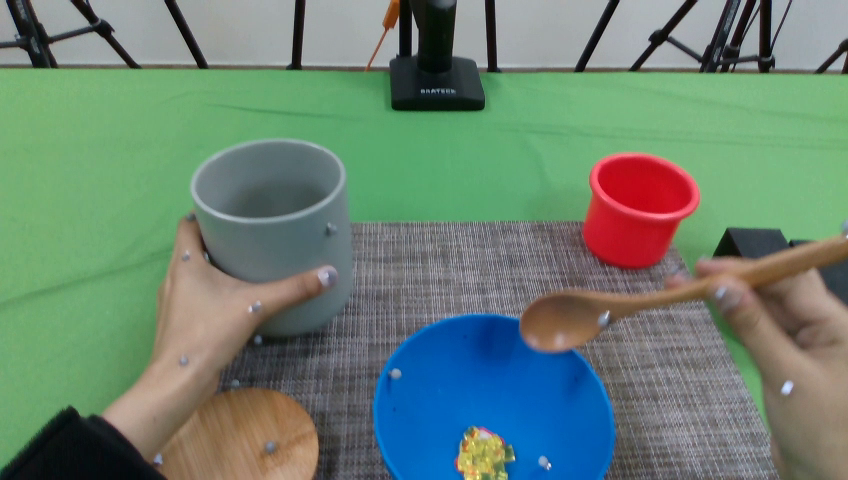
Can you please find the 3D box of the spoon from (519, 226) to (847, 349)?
[{"bbox_3d":[0.139,0.030,0.345,0.193,0.042,0.021,-21,11,38],"label":"spoon"}]

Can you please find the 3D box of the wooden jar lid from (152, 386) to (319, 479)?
[{"bbox_3d":[-0.126,0.151,0.411,0.108,0.021,0.107,1,44,-1],"label":"wooden jar lid"}]

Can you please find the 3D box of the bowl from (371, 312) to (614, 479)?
[{"bbox_3d":[0.041,0.130,0.402,0.151,0.077,0.150,2,45,-2],"label":"bowl"}]

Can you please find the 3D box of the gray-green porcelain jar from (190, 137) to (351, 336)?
[{"bbox_3d":[-0.110,0.002,0.464,0.106,0.127,0.105,2,41,-1],"label":"gray-green porcelain jar"}]
